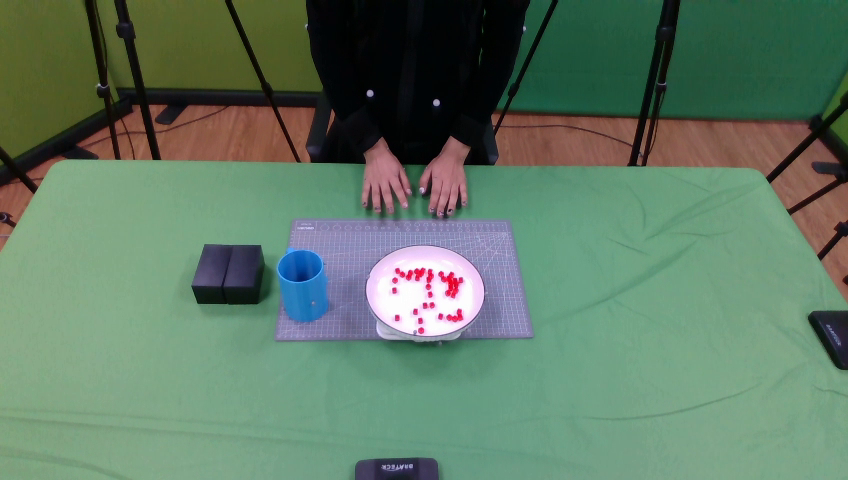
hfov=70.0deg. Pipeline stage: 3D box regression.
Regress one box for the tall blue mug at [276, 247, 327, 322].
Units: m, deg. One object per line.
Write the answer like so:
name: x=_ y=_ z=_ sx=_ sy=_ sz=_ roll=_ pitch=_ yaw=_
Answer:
tall blue mug: x=-0.221 y=0.072 z=1.049 sx=0.107 sy=0.108 sz=0.077 roll=30 pitch=52 yaw=22

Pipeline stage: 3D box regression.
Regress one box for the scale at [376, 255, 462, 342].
scale: x=-0.010 y=0.096 z=1.094 sx=0.149 sy=0.032 sz=0.199 roll=2 pitch=46 yaw=-3

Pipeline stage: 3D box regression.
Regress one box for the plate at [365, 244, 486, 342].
plate: x=0.001 y=0.093 z=1.051 sx=0.209 sy=0.038 sz=0.208 roll=1 pitch=46 yaw=-1
